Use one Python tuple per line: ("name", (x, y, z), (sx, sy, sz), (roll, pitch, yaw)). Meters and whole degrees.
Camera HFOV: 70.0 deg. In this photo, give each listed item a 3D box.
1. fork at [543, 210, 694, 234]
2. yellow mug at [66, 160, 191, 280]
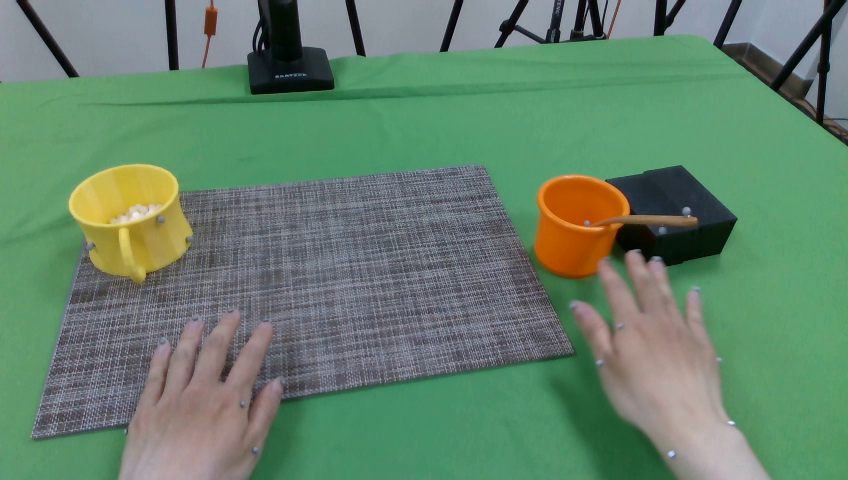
("fork", (0.175, -0.018, 0.573), (0.028, 0.018, 0.206), (-6, -1, -20))
("yellow mug", (-0.288, -0.016, 0.597), (0.100, 0.064, 0.129), (-11, 45, -16))
